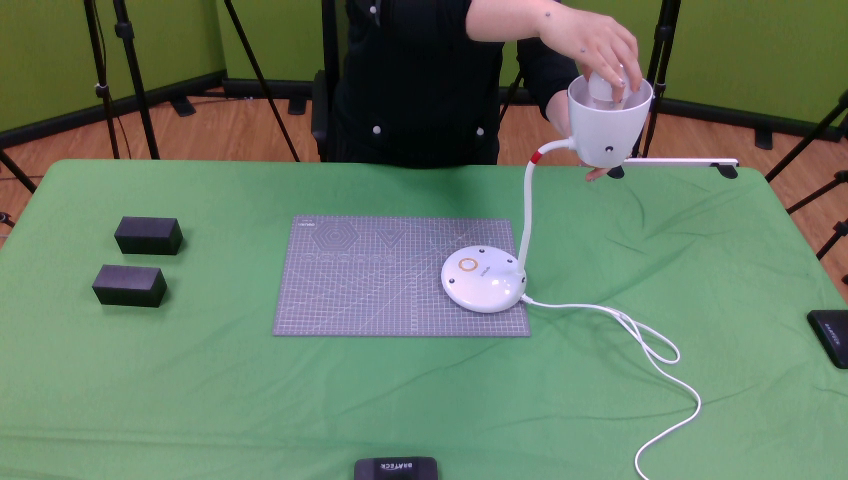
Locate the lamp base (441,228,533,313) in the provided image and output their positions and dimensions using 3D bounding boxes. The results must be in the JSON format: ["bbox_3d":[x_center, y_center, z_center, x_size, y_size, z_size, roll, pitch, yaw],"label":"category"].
[{"bbox_3d":[0.126,0.022,1.071,0.179,0.181,0.160,23,49,14],"label":"lamp base"}]

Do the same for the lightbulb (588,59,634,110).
[{"bbox_3d":[0.255,-0.195,0.831,0.059,0.108,0.059,-6,39,5],"label":"lightbulb"}]

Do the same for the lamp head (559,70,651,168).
[{"bbox_3d":[0.251,-0.163,0.858,0.112,0.123,0.111,0,43,0],"label":"lamp head"}]
